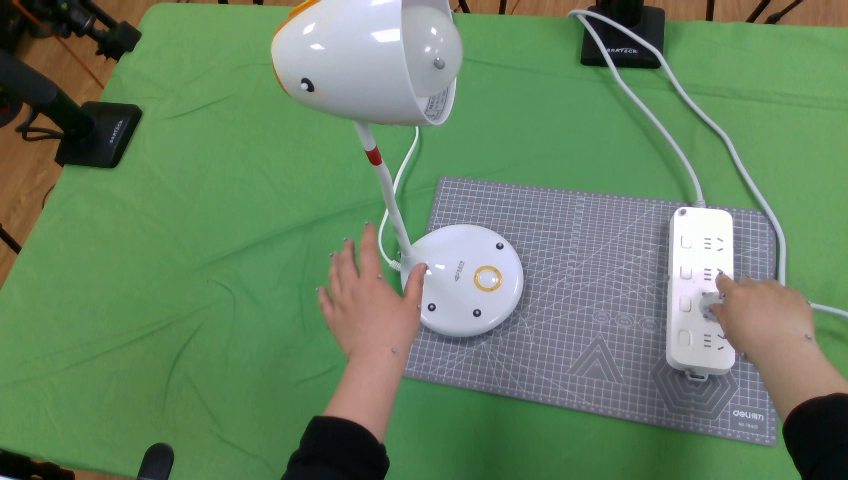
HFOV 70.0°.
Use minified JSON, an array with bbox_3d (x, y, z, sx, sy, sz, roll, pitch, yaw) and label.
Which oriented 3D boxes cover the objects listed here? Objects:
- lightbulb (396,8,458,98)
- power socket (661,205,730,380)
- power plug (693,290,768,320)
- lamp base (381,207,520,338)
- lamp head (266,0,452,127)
[{"bbox_3d":[-0.029,-0.131,0.428,0.107,0.060,0.059,7,65,21],"label":"lightbulb"},{"bbox_3d":[0.332,0.057,0.743,0.072,0.033,0.225,7,65,11],"label":"power socket"},{"bbox_3d":[0.352,0.082,0.706,0.072,0.053,0.035,19,68,16],"label":"power plug"},{"bbox_3d":[0.021,0.017,0.730,0.179,0.182,0.159,2,64,13],"label":"lamp base"},{"bbox_3d":[-0.049,-0.132,0.444,0.122,0.113,0.111,-4,62,25],"label":"lamp head"}]
